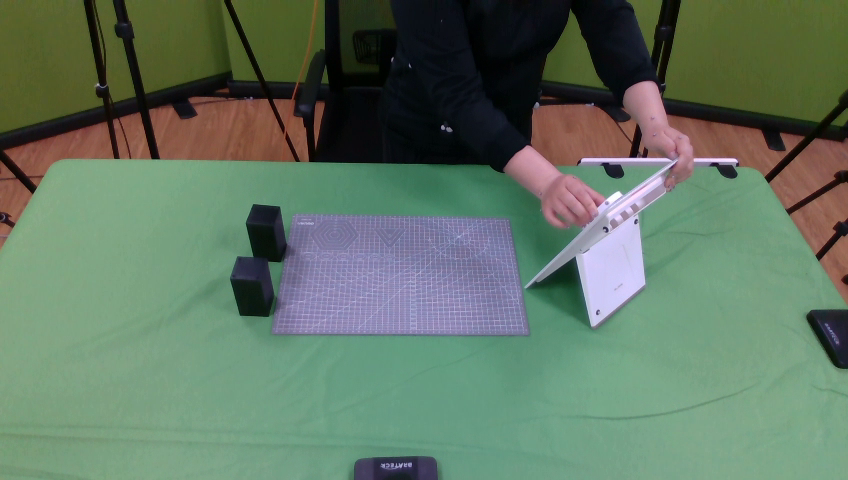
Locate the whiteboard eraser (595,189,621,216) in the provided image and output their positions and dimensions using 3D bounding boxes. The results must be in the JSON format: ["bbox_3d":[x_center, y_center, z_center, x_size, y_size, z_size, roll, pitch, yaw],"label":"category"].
[{"bbox_3d":[0.292,-0.044,0.988,0.019,0.101,0.041,40,56,19],"label":"whiteboard eraser"}]

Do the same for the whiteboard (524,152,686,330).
[{"bbox_3d":[0.347,0.026,1.047,0.217,0.306,0.143,-29,73,-29],"label":"whiteboard"}]
